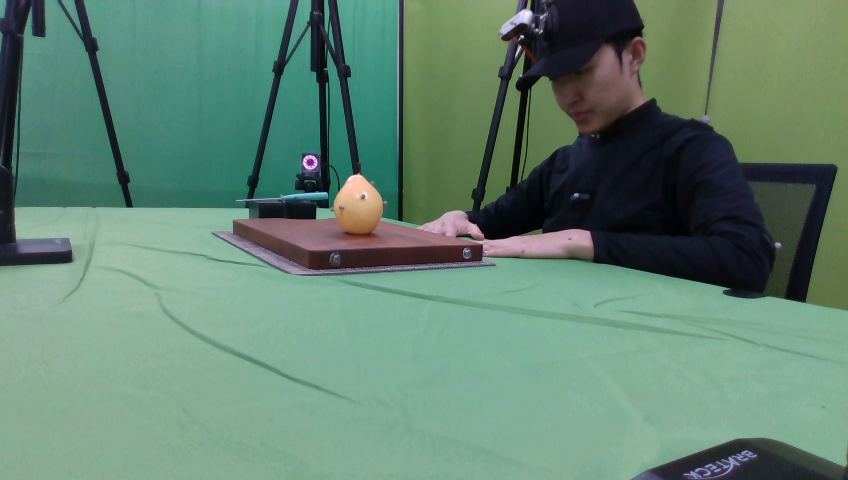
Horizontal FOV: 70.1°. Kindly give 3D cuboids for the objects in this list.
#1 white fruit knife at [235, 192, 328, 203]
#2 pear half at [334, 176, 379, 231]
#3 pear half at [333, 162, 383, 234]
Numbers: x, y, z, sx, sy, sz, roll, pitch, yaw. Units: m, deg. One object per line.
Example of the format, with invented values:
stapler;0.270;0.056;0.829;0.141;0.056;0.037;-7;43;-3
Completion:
white fruit knife;-0.297;-0.088;1.283;0.208;0.016;0.027;-7;-1;-32
pear half;-0.109;-0.058;0.953;0.071;0.088;0.031;-8;12;-21
pear half;-0.098;-0.063;0.918;0.076;0.110;0.055;-5;10;-20
